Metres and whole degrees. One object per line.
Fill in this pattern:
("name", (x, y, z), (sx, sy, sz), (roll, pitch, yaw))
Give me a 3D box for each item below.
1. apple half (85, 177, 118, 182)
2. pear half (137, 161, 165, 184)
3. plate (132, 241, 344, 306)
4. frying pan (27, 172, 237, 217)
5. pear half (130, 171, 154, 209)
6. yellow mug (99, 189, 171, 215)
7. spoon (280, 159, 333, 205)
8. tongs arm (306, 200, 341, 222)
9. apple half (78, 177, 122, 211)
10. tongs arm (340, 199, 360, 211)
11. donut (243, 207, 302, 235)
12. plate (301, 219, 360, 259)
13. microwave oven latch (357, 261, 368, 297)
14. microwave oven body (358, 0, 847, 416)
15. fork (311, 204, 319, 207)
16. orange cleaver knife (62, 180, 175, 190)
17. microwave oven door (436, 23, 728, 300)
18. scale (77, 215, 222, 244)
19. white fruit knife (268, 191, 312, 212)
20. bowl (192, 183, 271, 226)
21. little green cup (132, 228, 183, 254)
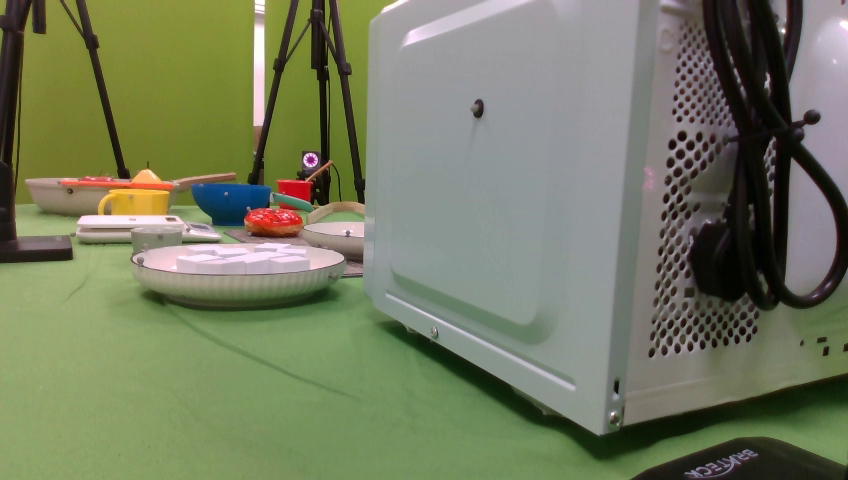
("apple half", (-0.673, -0.096, 1.269), (0.082, 0.081, 0.032), (-4, 6, -40))
("pear half", (-0.604, -0.120, 1.354), (0.056, 0.110, 0.076), (3, 11, 7))
("plate", (-0.187, 0.033, 0.625), (0.208, 0.039, 0.207), (2, 7, 0))
("frying pan", (-0.624, -0.118, 1.387), (0.305, 0.102, 0.490), (8, 17, 32))
("pear half", (-0.640, -0.113, 1.361), (0.031, 0.088, 0.070), (5, 10, 5))
("yellow mug", (-0.518, -0.055, 1.080), (0.099, 0.064, 0.131), (7, 10, 26))
("spoon", (-0.316, -0.159, 1.640), (0.194, 0.022, 0.041), (-49, 32, -20))
("tongs arm", (-0.234, -0.068, 1.414), (0.028, 0.028, 0.387), (-6, 8, 1))
("apple half", (-0.698, -0.099, 1.298), (0.081, 0.074, 0.053), (-9, 9, -40))
("tongs arm", (-0.149, -0.070, 1.429), (0.051, 0.026, 0.383), (-5, 9, -15))
("donut", (-0.261, -0.032, 1.043), (0.099, 0.048, 0.099), (4, 9, 0))
("plate", (-0.077, -0.002, 0.893), (0.209, 0.038, 0.209), (3, 8, 0))
("microwave oven latch", (-0.019, 0.033, 0.531), (0.079, 0.029, 0.030), (-1, 7, -27))
("microwave oven body", (0.211, -0.047, 0.475), (0.444, 0.260, 0.324), (-1, 7, -28))
("fork", (-0.356, -0.105, 1.526), (0.208, 0.018, 0.028), (16, -6, -41))
("orange cleaver knife", (-0.600, -0.110, 1.193), (0.212, 0.012, 0.077), (1, 8, -13))
("microwave oven door", (0.180, -0.072, 0.621), (0.358, 0.243, 0.039), (-2, 9, -29))
("scale", (-0.434, -0.019, 0.963), (0.202, 0.031, 0.148), (-1, 9, -27))
("white fruit knife", (-0.364, -0.105, 1.464), (0.208, 0.027, 0.016), (15, 0, -34))
("bowl", (-0.382, -0.071, 1.202), (0.151, 0.077, 0.151), (3, 7, 0))
("little green cup", (-0.342, 0.006, 0.779), (0.061, 0.038, 0.061), (2, 8, 0))
